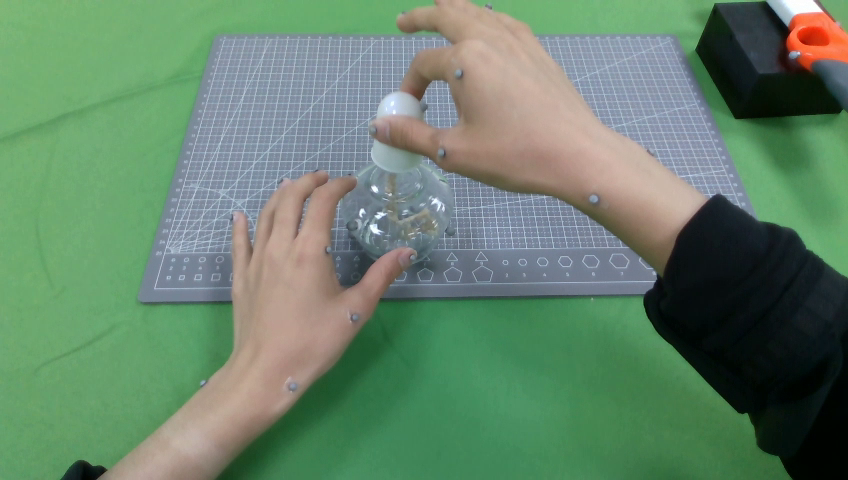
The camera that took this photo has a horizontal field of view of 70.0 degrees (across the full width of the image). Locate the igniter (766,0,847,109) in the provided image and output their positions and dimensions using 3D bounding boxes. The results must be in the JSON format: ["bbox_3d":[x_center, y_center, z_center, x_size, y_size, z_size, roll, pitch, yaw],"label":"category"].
[{"bbox_3d":[0.326,-0.182,0.513,0.057,0.025,0.273,-5,52,-2],"label":"igniter"}]

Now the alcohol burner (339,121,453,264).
[{"bbox_3d":[-0.019,-0.037,0.401,0.078,0.120,0.077,0,56,0],"label":"alcohol burner"}]

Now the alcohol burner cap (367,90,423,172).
[{"bbox_3d":[-0.016,-0.068,0.362,0.034,0.048,0.033,6,50,-7],"label":"alcohol burner cap"}]
